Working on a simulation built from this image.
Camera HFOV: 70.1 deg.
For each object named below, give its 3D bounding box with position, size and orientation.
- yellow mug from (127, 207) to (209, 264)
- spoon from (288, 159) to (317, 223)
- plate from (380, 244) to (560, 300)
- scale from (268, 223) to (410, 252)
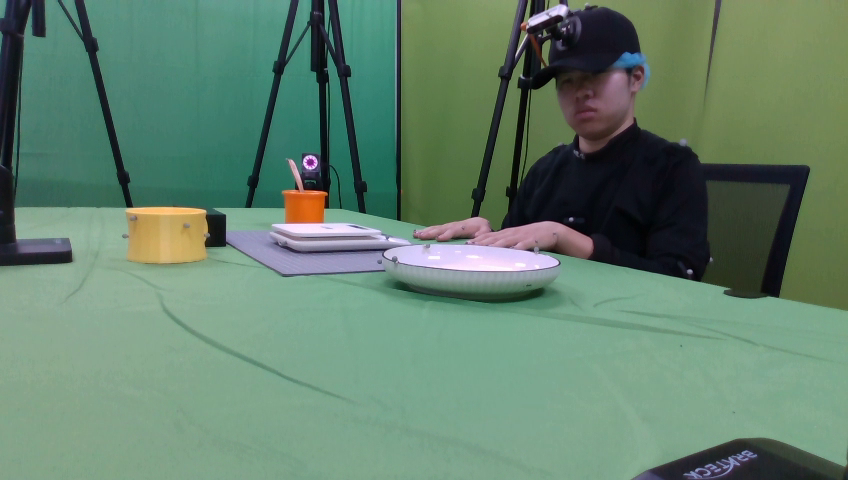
[{"bbox_3d":[-0.339,-0.010,0.827,0.100,0.064,0.131,5,7,17],"label":"yellow mug"},{"bbox_3d":[-0.259,-0.103,1.268,0.042,0.193,0.021,3,-39,-33],"label":"spoon"},{"bbox_3d":[0.053,0.036,0.708,0.209,0.038,0.209,2,7,0],"label":"plate"},{"bbox_3d":[-0.138,-0.006,0.980,0.202,0.031,0.148,-1,8,-30],"label":"scale"}]
